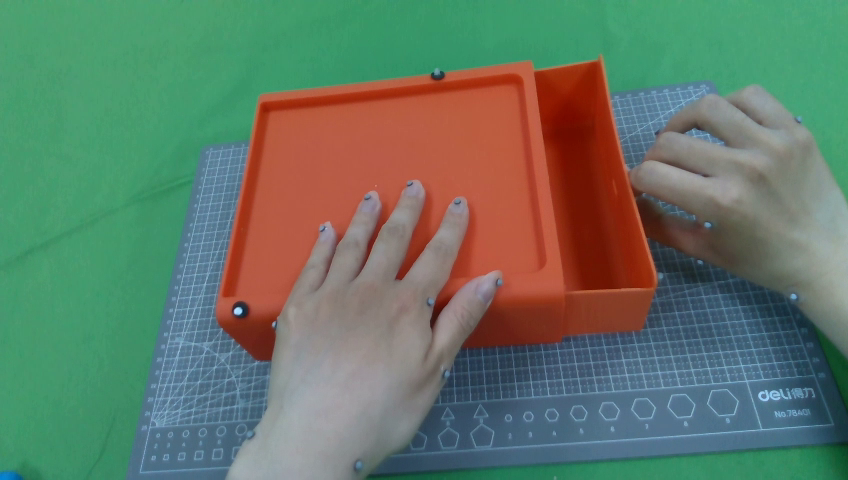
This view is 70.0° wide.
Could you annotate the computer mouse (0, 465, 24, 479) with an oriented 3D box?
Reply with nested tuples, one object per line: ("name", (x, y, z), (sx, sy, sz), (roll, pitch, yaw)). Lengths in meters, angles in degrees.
("computer mouse", (-0.283, 0.197, 0.368), (0.063, 0.041, 0.116), (-22, 53, -2))

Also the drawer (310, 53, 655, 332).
("drawer", (0.035, -0.031, 0.428), (0.211, 0.074, 0.192), (-5, 58, 8))

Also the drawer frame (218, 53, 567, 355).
("drawer frame", (-0.015, -0.026, 0.433), (0.213, 0.083, 0.200), (-6, 58, 7))
